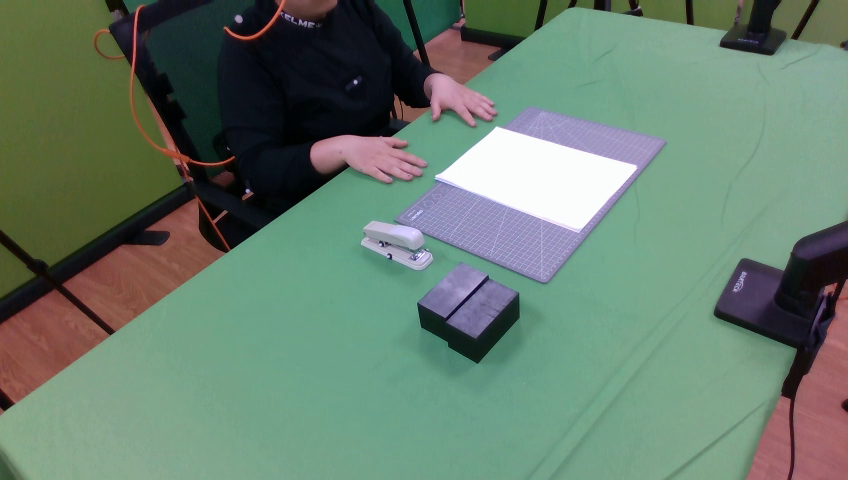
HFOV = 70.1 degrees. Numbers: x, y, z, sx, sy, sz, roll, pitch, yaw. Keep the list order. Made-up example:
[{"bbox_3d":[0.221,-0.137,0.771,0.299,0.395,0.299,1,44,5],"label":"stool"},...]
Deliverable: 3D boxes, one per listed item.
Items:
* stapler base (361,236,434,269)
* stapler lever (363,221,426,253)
[{"bbox_3d":[-0.044,0.009,0.974,0.129,0.024,0.041,21,46,32],"label":"stapler base"},{"bbox_3d":[-0.048,-0.011,0.958,0.117,0.040,0.027,21,46,32],"label":"stapler lever"}]
